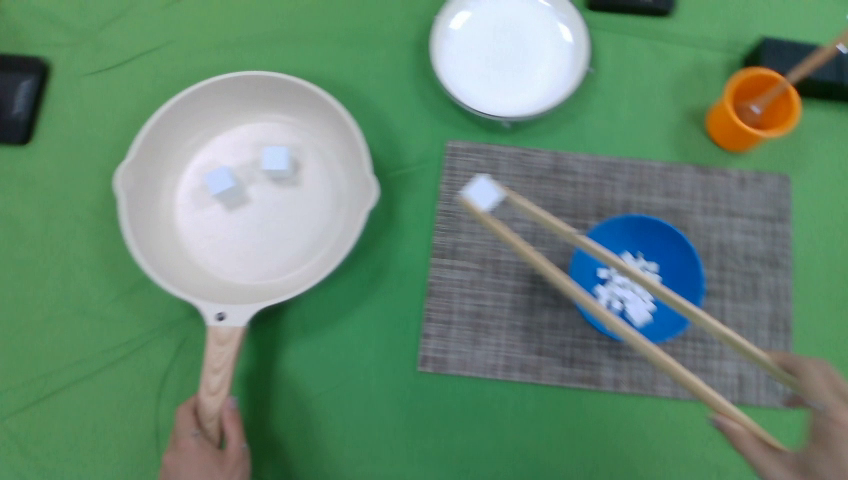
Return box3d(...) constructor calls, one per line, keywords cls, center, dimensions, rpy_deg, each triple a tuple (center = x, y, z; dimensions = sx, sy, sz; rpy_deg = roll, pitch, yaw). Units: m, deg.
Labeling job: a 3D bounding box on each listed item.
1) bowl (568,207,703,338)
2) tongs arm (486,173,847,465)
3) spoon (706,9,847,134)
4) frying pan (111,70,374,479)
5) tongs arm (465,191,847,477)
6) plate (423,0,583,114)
box3d(cls="bowl", center=(0.236, 0.044, 0.712), dimensions=(0.151, 0.077, 0.150), rpy_deg=(0, 78, -1))
box3d(cls="tongs arm", center=(0.187, 0.049, 0.535), dimensions=(0.381, 0.027, 0.050), rpy_deg=(36, 72, 29))
box3d(cls="spoon", center=(0.430, -0.202, 0.737), dimensions=(0.022, 0.194, 0.041), rpy_deg=(-17, 67, -50))
box3d(cls="frying pan", center=(-0.218, 0.037, 0.700), dimensions=(0.307, 0.103, 0.484), rpy_deg=(3, 69, 1))
box3d(cls="tongs arm", center=(0.170, 0.064, 0.530), dimensions=(0.028, 0.028, 0.383), rpy_deg=(-39, 58, -16))
box3d(cls="plate", center=(0.103, -0.259, 0.802), dimensions=(0.208, 0.039, 0.206), rpy_deg=(0, 78, 0))
